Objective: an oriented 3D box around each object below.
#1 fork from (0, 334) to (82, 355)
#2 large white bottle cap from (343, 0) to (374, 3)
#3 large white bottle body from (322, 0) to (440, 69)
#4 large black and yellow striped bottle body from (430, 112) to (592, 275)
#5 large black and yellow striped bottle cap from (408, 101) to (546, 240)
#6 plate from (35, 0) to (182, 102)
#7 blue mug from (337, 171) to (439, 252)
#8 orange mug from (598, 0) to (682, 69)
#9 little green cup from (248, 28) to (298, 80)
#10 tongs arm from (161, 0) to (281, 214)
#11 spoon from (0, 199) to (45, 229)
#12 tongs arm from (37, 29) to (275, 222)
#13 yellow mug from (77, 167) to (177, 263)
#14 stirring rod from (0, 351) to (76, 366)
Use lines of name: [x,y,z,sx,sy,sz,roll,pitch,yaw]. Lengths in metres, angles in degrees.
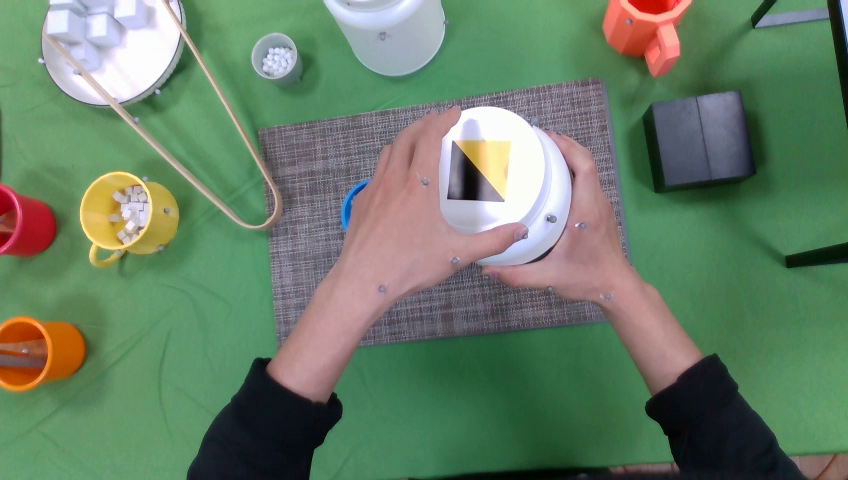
fork: [-0.543,0.127,0.751,0.209,0.018,0.028,10,83,-36]
large white bottle cap: [-0.065,-0.304,0.627,0.114,0.018,0.114,-1,85,8]
large white bottle body: [-0.054,-0.296,0.711,0.130,0.185,0.130,-1,84,8]
large black and yellow striped bottle body: [0.077,-0.041,0.568,0.130,0.185,0.130,-5,78,24]
large black and yellow striped bottle cap: [0.041,-0.057,0.494,0.114,0.019,0.114,-4,79,22]
plate: [-0.426,-0.288,0.830,0.207,0.039,0.207,-1,85,7]
blue mug: [-0.034,-0.026,0.721,0.116,0.106,0.082,19,87,9]
orange mug: [0.262,-0.271,0.714,0.083,0.101,0.125,-17,79,6]
little green cup: [-0.196,-0.242,0.798,0.061,0.039,0.061,-1,86,7]
tongs arm: [-0.284,-0.207,0.790,0.028,0.028,0.387,-31,89,-5]
spoon: [-0.591,-0.012,0.773,0.194,0.022,0.041,-25,78,-40]
tongs arm: [-0.349,-0.153,0.789,0.384,0.026,0.051,45,88,1]
yellow mug: [-0.393,-0.026,0.789,0.099,0.064,0.131,32,90,9]
stirring rod: [-0.532,0.144,0.752,0.006,0.177,0.014,-23,61,48]
